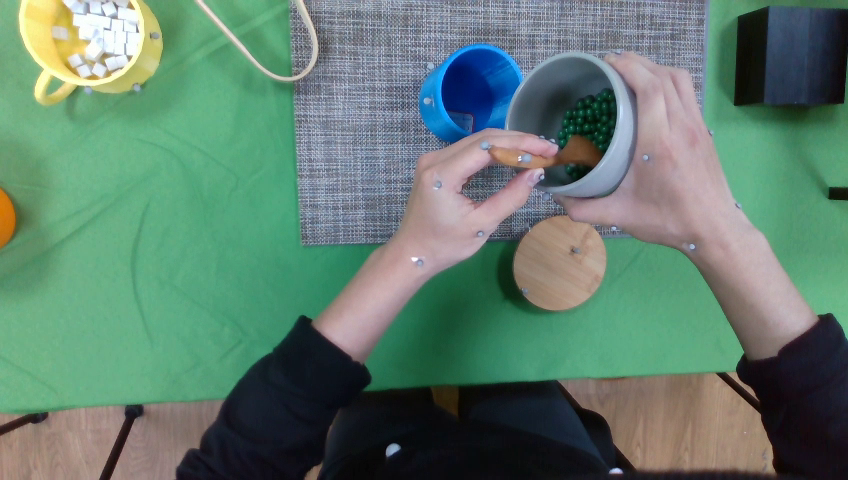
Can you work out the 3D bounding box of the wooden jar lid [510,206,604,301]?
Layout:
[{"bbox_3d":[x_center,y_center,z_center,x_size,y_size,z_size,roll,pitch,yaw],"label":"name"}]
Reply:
[{"bbox_3d":[0.147,0.015,0.677,0.108,0.020,0.109,-2,103,-9],"label":"wooden jar lid"}]

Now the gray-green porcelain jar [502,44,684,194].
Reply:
[{"bbox_3d":[0.144,-0.093,0.499,0.127,0.105,0.106,2,100,-44],"label":"gray-green porcelain jar"}]

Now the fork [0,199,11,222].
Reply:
[{"bbox_3d":[-0.459,-0.032,0.494,0.209,0.018,0.028,4,100,-55],"label":"fork"}]

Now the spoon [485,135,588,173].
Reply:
[{"bbox_3d":[0.092,-0.059,0.458,0.041,0.195,0.022,45,115,23],"label":"spoon"}]

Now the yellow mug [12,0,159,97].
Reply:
[{"bbox_3d":[-0.307,-0.181,0.541,0.100,0.063,0.131,37,92,-14],"label":"yellow mug"}]

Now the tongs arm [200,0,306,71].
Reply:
[{"bbox_3d":[-0.248,-0.300,0.526,0.051,0.026,0.387,-41,111,-5],"label":"tongs arm"}]

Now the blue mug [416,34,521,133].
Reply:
[{"bbox_3d":[0.055,-0.140,0.589,0.117,0.105,0.082,24,94,-13],"label":"blue mug"}]

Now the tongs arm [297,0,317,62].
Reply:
[{"bbox_3d":[-0.179,-0.348,0.534,0.028,0.027,0.390,-28,110,-13],"label":"tongs arm"}]
